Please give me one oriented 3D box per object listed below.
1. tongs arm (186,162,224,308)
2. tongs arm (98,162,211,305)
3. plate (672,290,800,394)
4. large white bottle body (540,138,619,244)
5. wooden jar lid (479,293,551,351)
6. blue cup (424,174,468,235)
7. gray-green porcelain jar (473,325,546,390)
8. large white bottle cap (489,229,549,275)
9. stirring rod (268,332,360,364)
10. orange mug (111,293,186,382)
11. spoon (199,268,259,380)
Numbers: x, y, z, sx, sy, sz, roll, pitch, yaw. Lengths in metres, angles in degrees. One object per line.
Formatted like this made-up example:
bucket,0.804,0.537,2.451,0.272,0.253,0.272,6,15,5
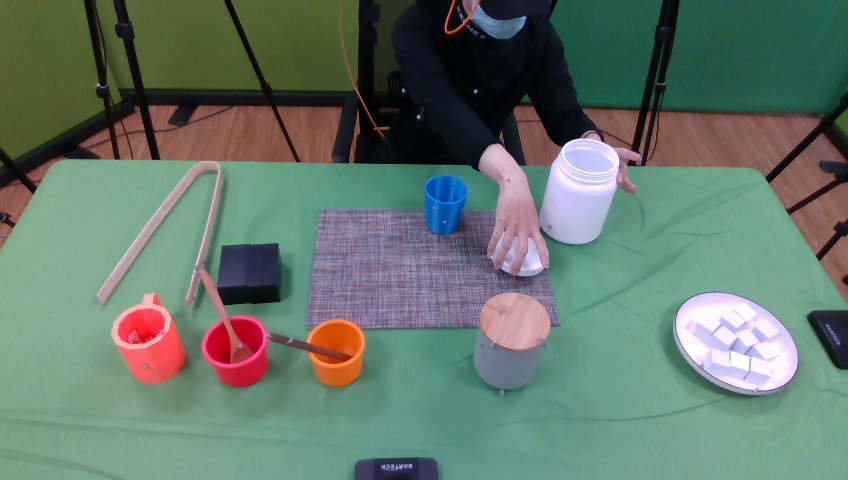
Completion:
tongs arm,-0.435,-0.025,1.181,0.051,0.027,0.382,-3,45,1
tongs arm,-0.519,-0.027,1.184,0.028,0.028,0.385,4,45,13
plate,0.533,0.178,1.050,0.208,0.039,0.206,2,46,-2
large white bottle body,0.308,-0.096,1.198,0.131,0.185,0.130,2,46,-2
wooden jar lid,0.137,0.127,0.925,0.108,0.021,0.107,1,47,-1
blue cup,0.039,-0.065,1.201,0.093,0.101,0.092,3,47,-3
gray-green porcelain jar,0.135,0.170,0.969,0.106,0.127,0.105,2,46,-2
large white bottle cap,0.183,0.022,1.166,0.115,0.018,0.114,5,43,-5
stirring rod,-0.167,0.169,0.942,0.177,0.006,0.014,26,26,-41
orange mug,-0.435,0.149,0.969,0.083,0.101,0.125,-5,51,-8
spoon,-0.313,0.132,0.962,0.041,0.021,0.194,-24,96,-22
